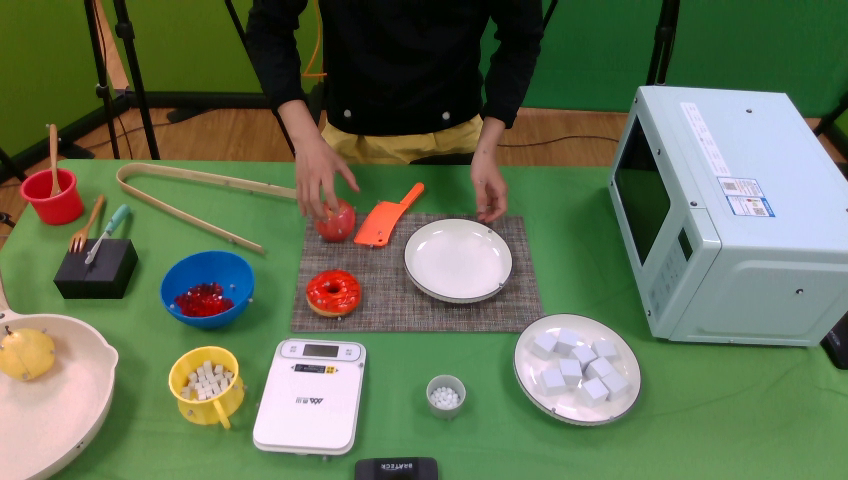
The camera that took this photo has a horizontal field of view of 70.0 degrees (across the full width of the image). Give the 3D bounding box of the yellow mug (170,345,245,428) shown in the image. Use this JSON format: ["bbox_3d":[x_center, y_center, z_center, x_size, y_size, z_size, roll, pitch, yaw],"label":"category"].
[{"bbox_3d":[-0.322,0.230,0.922,0.100,0.064,0.130,-24,53,-25],"label":"yellow mug"}]

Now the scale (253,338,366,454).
[{"bbox_3d":[-0.175,0.236,0.951,0.149,0.032,0.199,4,45,0],"label":"scale"}]

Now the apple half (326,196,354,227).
[{"bbox_3d":[-0.160,-0.054,1.196,0.081,0.081,0.033,34,56,26],"label":"apple half"}]

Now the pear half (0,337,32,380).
[{"bbox_3d":[-0.631,0.184,0.921,0.070,0.088,0.031,29,49,19],"label":"pear half"}]

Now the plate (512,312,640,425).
[{"bbox_3d":[0.246,0.213,0.999,0.208,0.039,0.206,2,46,-2],"label":"plate"}]

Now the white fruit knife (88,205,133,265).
[{"bbox_3d":[-0.584,-0.013,1.129,0.016,0.027,0.206,0,32,-5],"label":"white fruit knife"}]

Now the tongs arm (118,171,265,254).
[{"bbox_3d":[-0.473,-0.056,1.210,0.386,0.028,0.028,23,56,17],"label":"tongs arm"}]

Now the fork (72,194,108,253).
[{"bbox_3d":[-0.634,-0.036,1.158,0.028,0.019,0.206,-8,32,-8],"label":"fork"}]

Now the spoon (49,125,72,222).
[{"bbox_3d":[-0.718,-0.131,1.189,0.041,0.021,0.193,-4,90,-6],"label":"spoon"}]

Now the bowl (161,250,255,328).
[{"bbox_3d":[-0.362,0.098,1.039,0.151,0.077,0.150,2,45,-2],"label":"bowl"}]

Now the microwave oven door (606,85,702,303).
[{"bbox_3d":[0.423,-0.094,1.140,0.039,0.245,0.353,2,46,-1],"label":"microwave oven door"}]

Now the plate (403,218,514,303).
[{"bbox_3d":[0.064,0.042,1.146,0.209,0.038,0.208,2,46,-2],"label":"plate"}]

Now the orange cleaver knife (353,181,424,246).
[{"bbox_3d":[-0.070,-0.059,1.245,0.077,0.012,0.210,18,50,21],"label":"orange cleaver knife"}]

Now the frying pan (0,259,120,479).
[{"bbox_3d":[-0.647,0.164,0.936,0.307,0.103,0.485,-19,58,-22],"label":"frying pan"}]

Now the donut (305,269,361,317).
[{"bbox_3d":[-0.160,0.094,1.075,0.099,0.048,0.098,3,46,-3],"label":"donut"}]

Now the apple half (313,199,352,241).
[{"bbox_3d":[-0.185,-0.033,1.176,0.080,0.075,0.053,35,57,22],"label":"apple half"}]

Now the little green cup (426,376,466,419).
[{"bbox_3d":[0.033,0.248,0.950,0.061,0.039,0.061,2,46,-2],"label":"little green cup"}]

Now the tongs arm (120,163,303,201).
[{"bbox_3d":[-0.444,-0.114,1.266,0.384,0.026,0.050,12,50,7],"label":"tongs arm"}]

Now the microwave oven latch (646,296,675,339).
[{"bbox_3d":[0.412,0.134,1.061,0.030,0.029,0.078,4,45,1],"label":"microwave oven latch"}]

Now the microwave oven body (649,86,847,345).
[{"bbox_3d":[0.567,-0.053,1.118,0.326,0.261,0.439,2,45,-1],"label":"microwave oven body"}]

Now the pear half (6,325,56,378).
[{"bbox_3d":[-0.608,0.158,0.935,0.076,0.110,0.056,31,51,20],"label":"pear half"}]
